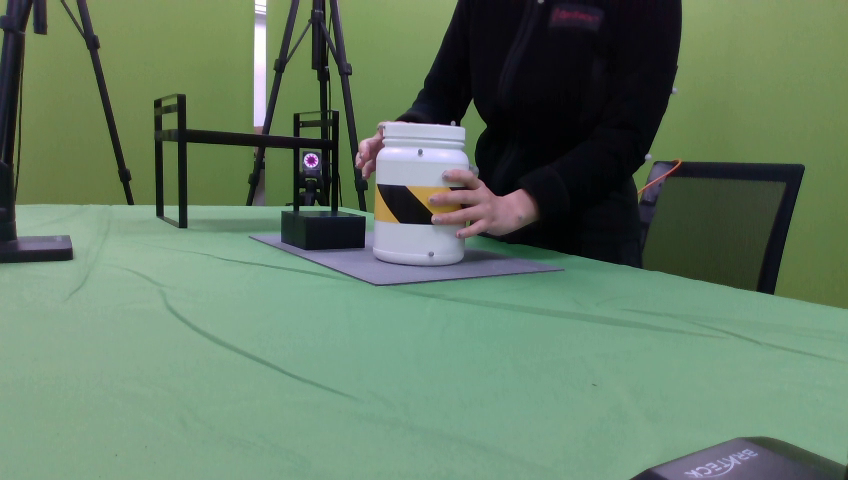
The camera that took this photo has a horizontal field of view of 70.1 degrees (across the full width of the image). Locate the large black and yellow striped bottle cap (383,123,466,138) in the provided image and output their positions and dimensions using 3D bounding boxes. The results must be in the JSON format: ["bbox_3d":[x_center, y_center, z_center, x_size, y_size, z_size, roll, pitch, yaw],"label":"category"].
[{"bbox_3d":[0.000,-0.150,0.831,0.115,0.019,0.115,1,8,0],"label":"large black and yellow striped bottle cap"}]

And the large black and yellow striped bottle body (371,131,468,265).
[{"bbox_3d":[-0.005,-0.065,0.843,0.131,0.184,0.130,3,7,0],"label":"large black and yellow striped bottle body"}]
